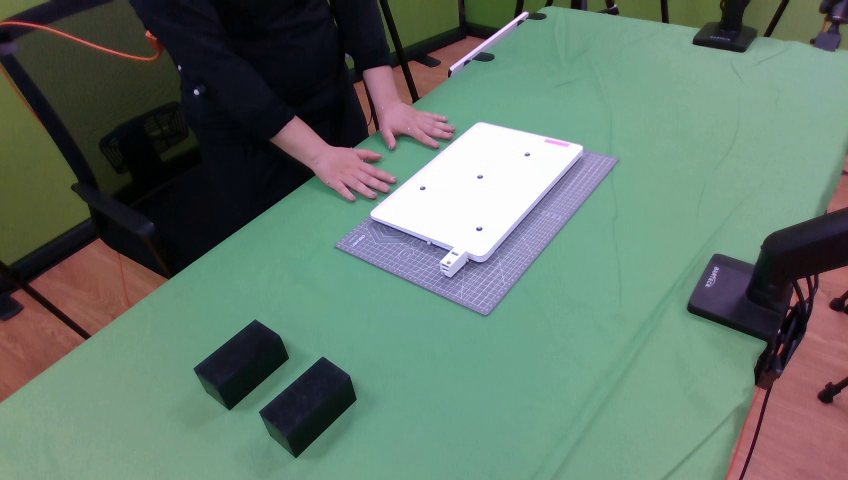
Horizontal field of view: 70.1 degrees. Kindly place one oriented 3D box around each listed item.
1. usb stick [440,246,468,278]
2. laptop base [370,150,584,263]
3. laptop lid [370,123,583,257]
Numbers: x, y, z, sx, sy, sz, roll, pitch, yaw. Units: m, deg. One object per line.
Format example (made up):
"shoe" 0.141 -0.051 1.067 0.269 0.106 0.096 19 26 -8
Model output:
"usb stick" 0.050 0.029 0.911 0.021 0.027 0.059 24 47 32
"laptop base" 0.102 -0.096 1.070 0.233 0.023 0.355 19 47 32
"laptop lid" 0.099 -0.106 1.064 0.240 0.013 0.358 22 48 33
